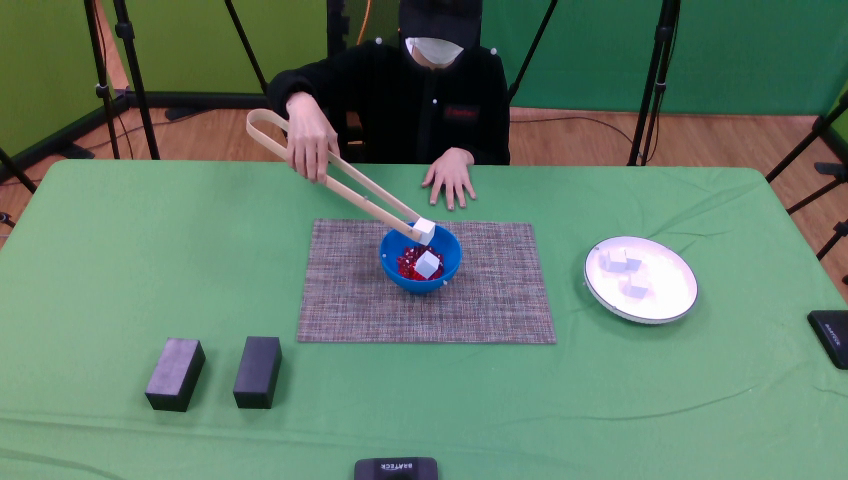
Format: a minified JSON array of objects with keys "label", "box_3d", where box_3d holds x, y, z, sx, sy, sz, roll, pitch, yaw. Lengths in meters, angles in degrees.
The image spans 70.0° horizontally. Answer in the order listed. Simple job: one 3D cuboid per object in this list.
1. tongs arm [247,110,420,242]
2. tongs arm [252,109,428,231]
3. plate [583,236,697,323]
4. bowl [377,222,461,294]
[{"label":"tongs arm","box_3d":[-0.165,-0.116,1.085,0.384,0.026,0.050,31,53,4]},{"label":"tongs arm","box_3d":[-0.153,-0.129,1.098,0.387,0.028,0.028,35,56,7]},{"label":"plate","box_3d":[0.403,0.078,1.144,0.209,0.038,0.208,2,45,-2]},{"label":"bowl","box_3d":[-0.011,0.046,1.109,0.151,0.077,0.150,3,45,-2]}]
